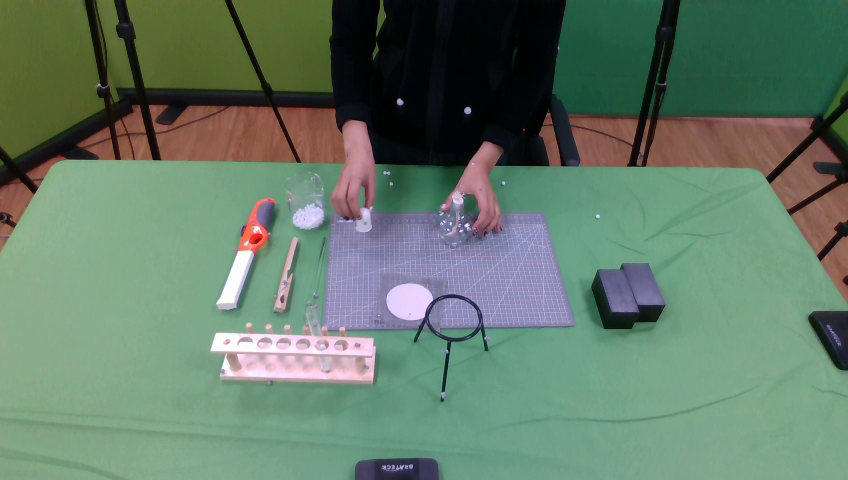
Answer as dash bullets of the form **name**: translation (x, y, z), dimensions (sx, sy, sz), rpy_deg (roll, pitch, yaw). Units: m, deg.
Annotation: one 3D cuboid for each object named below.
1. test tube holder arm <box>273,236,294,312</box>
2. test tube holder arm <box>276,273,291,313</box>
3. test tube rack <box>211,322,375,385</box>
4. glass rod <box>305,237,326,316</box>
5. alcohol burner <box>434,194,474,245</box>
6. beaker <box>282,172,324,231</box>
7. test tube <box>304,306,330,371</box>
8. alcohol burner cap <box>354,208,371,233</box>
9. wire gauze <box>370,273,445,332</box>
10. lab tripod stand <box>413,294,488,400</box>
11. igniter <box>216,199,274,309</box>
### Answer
- **test tube holder arm**: translation (-0.259, 0.059, 1.123), dimensions (0.013, 0.015, 0.177), rpy_deg (27, 39, -27)
- **test tube holder arm**: translation (-0.254, 0.093, 1.094), dimensions (0.010, 0.015, 0.087), rpy_deg (28, 39, -26)
- **test tube rack**: translation (-0.203, 0.176, 0.969), dimensions (0.242, 0.085, 0.066), rpy_deg (3, 46, -2)
- **glass rod**: translation (-0.202, 0.063, 1.131), dimensions (0.008, 0.008, 0.198), rpy_deg (3, 44, 0)
- **alcohol burner**: translation (0.061, -0.046, 1.182), dimensions (0.078, 0.119, 0.077), rpy_deg (3, 46, -3)
- **beaker**: translation (-0.234, -0.073, 1.199), dimensions (0.084, 0.101, 0.074), rpy_deg (24, 50, 17)
- **test tube**: translation (-0.162, 0.153, 0.925), dimensions (0.017, 0.151, 0.017), rpy_deg (-2, 44, 2)
- **alcohol burner cap**: translation (-0.119, -0.040, 1.158), dimensions (0.034, 0.048, 0.033), rpy_deg (0, 47, 0)
- **wire gauze**: translation (-0.028, 0.109, 1.099), dimensions (0.125, 0.011, 0.121), rpy_deg (7, 45, 4)
- **lab tripod stand**: translation (0.045, 0.159, 0.972), dimensions (0.148, 0.132, 0.147), rpy_deg (2, 44, -2)
- **igniter**: translation (-0.336, 0.017, 1.152), dimensions (0.057, 0.025, 0.275), rpy_deg (-2, 45, 8)
